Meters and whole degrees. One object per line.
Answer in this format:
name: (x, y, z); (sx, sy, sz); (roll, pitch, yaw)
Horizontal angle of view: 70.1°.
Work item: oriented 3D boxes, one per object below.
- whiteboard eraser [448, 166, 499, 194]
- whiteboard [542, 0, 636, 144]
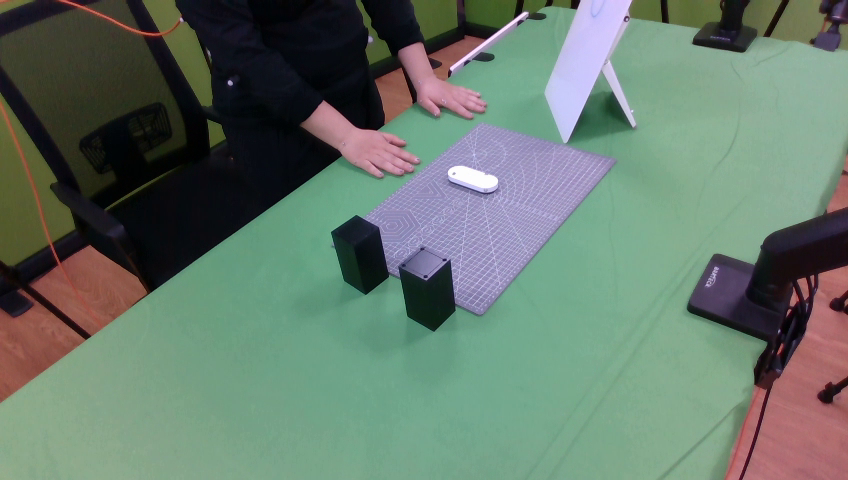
whiteboard eraser: (0.088, -0.108, 1.082); (0.100, 0.019, 0.041); (22, 49, 31)
whiteboard: (0.366, -0.351, 1.160); (0.144, 0.305, 0.216); (10, 39, -10)
